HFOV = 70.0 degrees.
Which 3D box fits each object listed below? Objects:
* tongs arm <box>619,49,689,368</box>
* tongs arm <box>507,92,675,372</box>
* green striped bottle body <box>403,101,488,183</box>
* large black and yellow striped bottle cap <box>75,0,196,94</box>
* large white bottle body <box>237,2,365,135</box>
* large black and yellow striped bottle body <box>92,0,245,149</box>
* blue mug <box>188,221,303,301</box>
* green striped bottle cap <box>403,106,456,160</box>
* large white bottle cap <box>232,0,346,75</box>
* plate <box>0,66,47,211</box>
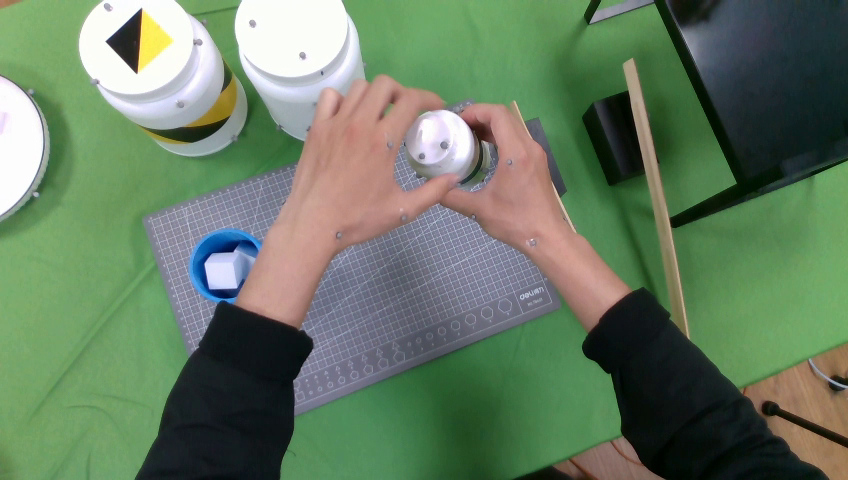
[{"bbox_3d":[0.278,-0.036,0.736,0.028,0.027,0.388,-13,94,-12],"label":"tongs arm"},{"bbox_3d":[0.202,-0.007,0.727,0.051,0.026,0.385,-26,95,-8],"label":"tongs arm"},{"bbox_3d":[0.020,-0.091,0.569,0.063,0.119,0.063,0,88,15],"label":"green striped bottle body"},{"bbox_3d":[-0.292,-0.206,0.615,0.115,0.019,0.114,1,82,-3],"label":"large black and yellow striped bottle cap"},{"bbox_3d":[-0.139,-0.212,0.705,0.131,0.185,0.130,0,81,-2],"label":"large white bottle body"},{"bbox_3d":[-0.293,-0.191,0.697,0.131,0.184,0.130,0,81,-2],"label":"large black and yellow striped bottle body"},{"bbox_3d":[-0.199,0.023,0.707,0.116,0.106,0.082,-14,82,-4],"label":"blue mug"},{"bbox_3d":[0.004,-0.092,0.519,0.044,0.020,0.044,-1,88,15],"label":"green striped bottle cap"},{"bbox_3d":[-0.138,-0.226,0.622,0.115,0.018,0.114,0,81,-2],"label":"large white bottle cap"},{"bbox_3d":[-0.569,-0.121,0.751,0.208,0.039,0.207,0,82,-2],"label":"plate"}]
